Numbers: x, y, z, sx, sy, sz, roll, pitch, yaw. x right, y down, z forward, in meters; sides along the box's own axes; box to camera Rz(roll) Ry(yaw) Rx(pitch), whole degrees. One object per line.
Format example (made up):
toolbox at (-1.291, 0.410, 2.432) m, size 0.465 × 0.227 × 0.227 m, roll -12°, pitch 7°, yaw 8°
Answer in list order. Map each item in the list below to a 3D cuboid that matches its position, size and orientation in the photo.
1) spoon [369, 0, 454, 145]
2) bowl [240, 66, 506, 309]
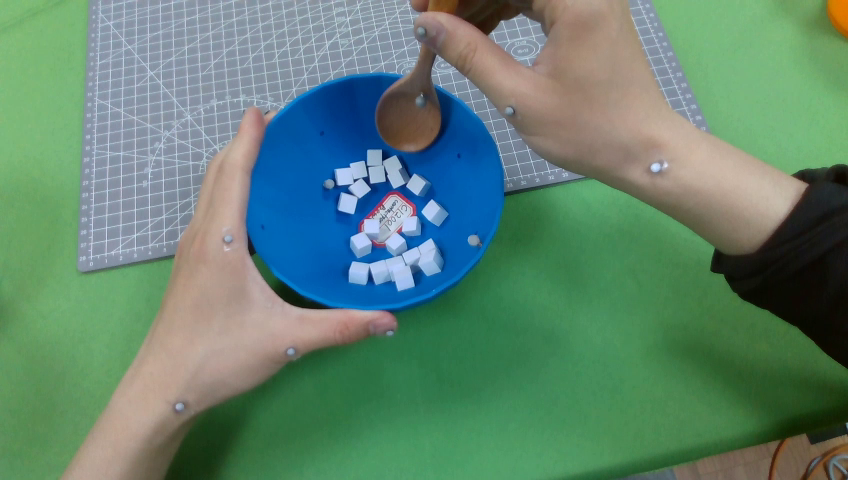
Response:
spoon at (0.002, -0.099, 0.302) m, size 0.042 × 0.194 × 0.021 m, roll 19°, pitch 71°, yaw -6°
bowl at (-0.028, -0.022, 0.378) m, size 0.151 × 0.077 × 0.150 m, roll 0°, pitch 71°, yaw 2°
